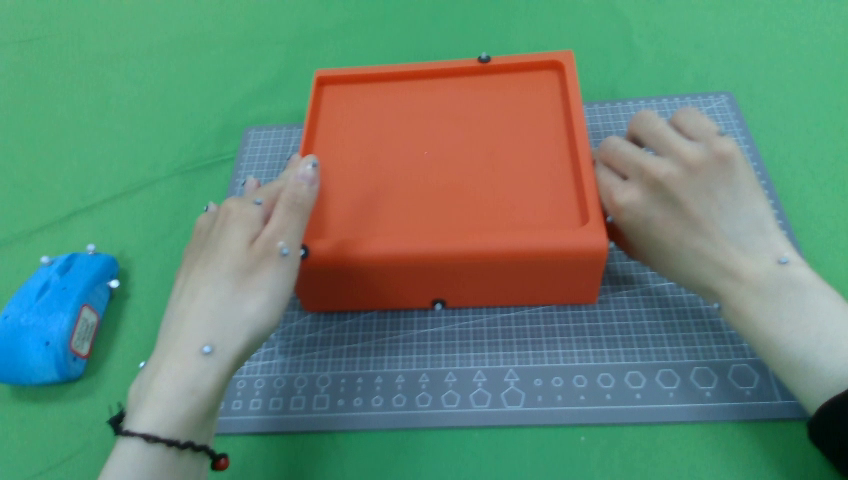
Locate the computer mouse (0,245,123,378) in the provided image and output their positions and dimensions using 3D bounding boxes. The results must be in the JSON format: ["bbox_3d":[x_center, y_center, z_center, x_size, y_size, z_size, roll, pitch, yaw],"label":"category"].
[{"bbox_3d":[-0.278,0.048,0.459,0.063,0.041,0.116,-4,49,7],"label":"computer mouse"}]

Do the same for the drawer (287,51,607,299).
[{"bbox_3d":[0.020,-0.052,0.463,0.211,0.074,0.192,-1,55,7],"label":"drawer"}]

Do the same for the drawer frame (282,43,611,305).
[{"bbox_3d":[0.020,-0.052,0.462,0.213,0.083,0.199,-3,54,6],"label":"drawer frame"}]
